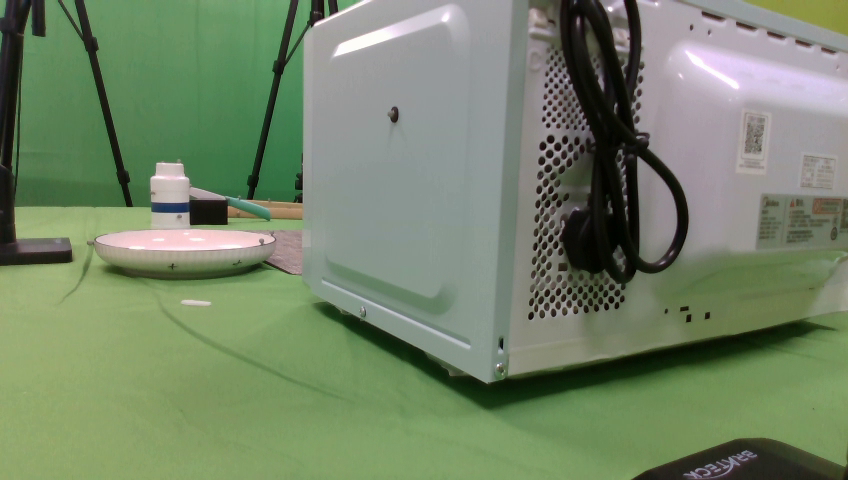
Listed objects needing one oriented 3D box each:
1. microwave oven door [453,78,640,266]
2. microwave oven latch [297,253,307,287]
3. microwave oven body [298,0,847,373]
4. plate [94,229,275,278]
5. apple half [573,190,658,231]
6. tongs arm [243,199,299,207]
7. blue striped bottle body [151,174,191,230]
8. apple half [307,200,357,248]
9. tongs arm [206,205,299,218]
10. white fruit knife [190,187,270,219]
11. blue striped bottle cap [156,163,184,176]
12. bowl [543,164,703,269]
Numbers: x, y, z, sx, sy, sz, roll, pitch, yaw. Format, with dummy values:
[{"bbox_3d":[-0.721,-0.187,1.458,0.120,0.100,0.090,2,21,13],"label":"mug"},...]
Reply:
[{"bbox_3d":[0.164,-0.107,0.918,0.039,0.243,0.354,-2,8,-32],"label":"microwave oven door"},{"bbox_3d":[-0.082,0.027,0.580,0.079,0.029,0.030,-1,7,-28],"label":"microwave oven latch"},{"bbox_3d":[0.151,-0.055,0.543,0.444,0.260,0.324,-1,7,-33],"label":"microwave oven body"},{"bbox_3d":[-0.291,0.016,0.749,0.208,0.039,0.207,2,7,0],"label":"plate"},{"bbox_3d":[0.183,-0.031,0.581,0.081,0.033,0.081,14,-2,1],"label":"apple half"},{"bbox_3d":[-0.309,-0.079,1.487,0.385,0.026,0.050,3,7,-1],"label":"tongs arm"},{"bbox_3d":[-0.439,-0.071,1.052,0.063,0.120,0.063,2,7,0],"label":"blue striped bottle body"},{"bbox_3d":[-0.135,-0.024,0.941,0.053,0.074,0.081,13,8,39],"label":"apple half"},{"bbox_3d":[-0.302,-0.065,1.406,0.389,0.028,0.028,1,4,-15],"label":"tongs arm"},{"bbox_3d":[-0.413,-0.081,1.270,0.208,0.027,0.016,17,14,-41],"label":"white fruit knife"},{"bbox_3d":[-0.438,-0.121,1.045,0.044,0.020,0.044,4,6,0],"label":"blue striped bottle cap"},{"bbox_3d":[0.182,-0.019,0.588,0.151,0.077,0.151,13,7,-1],"label":"bowl"}]
